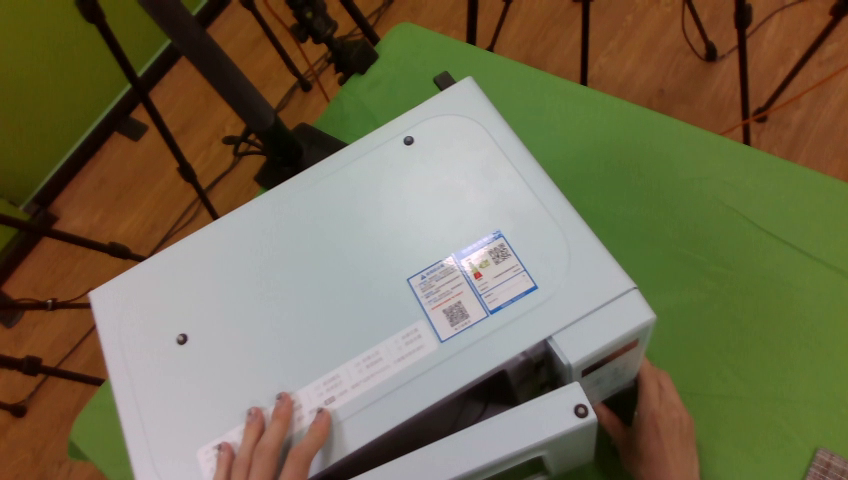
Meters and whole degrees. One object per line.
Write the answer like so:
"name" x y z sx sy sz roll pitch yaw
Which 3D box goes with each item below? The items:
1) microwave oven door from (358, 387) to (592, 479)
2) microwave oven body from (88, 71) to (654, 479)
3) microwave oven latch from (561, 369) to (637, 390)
"microwave oven door" -0.015 0.238 0.556 0.356 0.246 0.039 -24 60 2
"microwave oven body" -0.052 0.094 0.641 0.442 0.262 0.322 -30 62 -1
"microwave oven latch" 0.191 0.148 0.665 0.079 0.030 0.030 -13 63 8
